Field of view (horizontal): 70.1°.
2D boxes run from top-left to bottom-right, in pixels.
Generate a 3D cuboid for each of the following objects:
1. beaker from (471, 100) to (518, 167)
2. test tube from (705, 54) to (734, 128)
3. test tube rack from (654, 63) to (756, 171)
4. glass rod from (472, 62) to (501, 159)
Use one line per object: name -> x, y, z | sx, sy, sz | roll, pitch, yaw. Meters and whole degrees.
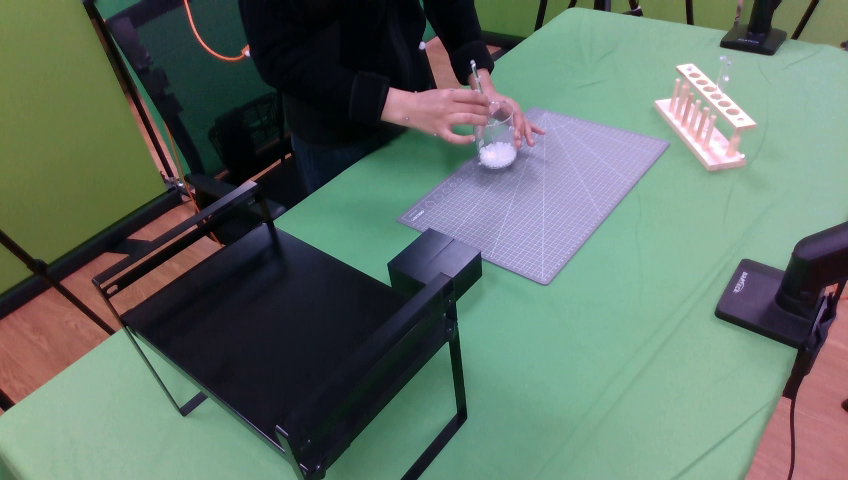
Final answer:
beaker -> 0.128, -0.188, 1.071 | 0.073, 0.101, 0.084 | 7, 48, 22
test tube -> 0.523, -0.260, 1.073 | 0.017, 0.151, 0.017 | -4, 46, 4
test tube rack -> 0.510, -0.233, 1.120 | 0.067, 0.085, 0.241 | -8, 41, -1
glass rod -> 0.106, -0.212, 1.014 | 0.008, 0.201, 0.008 | -12, 46, 13
